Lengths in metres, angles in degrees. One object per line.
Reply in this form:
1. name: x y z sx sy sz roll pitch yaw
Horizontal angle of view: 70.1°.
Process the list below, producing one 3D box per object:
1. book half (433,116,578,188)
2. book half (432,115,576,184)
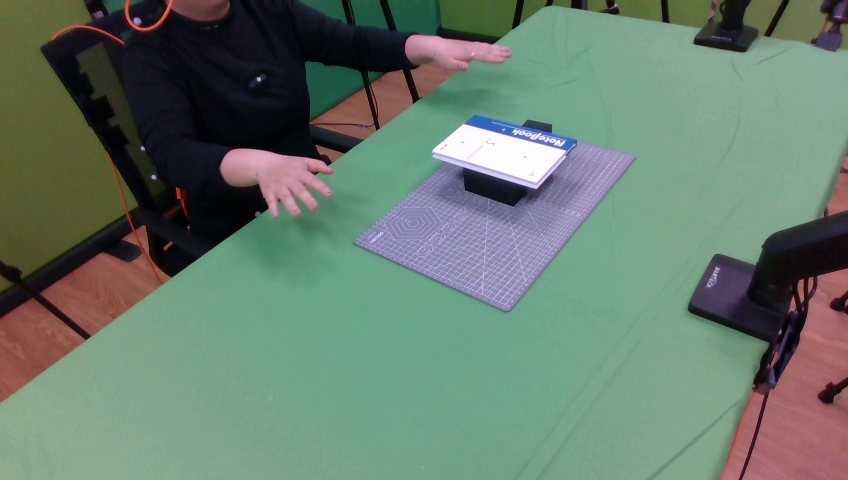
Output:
1. book half: 0.140 -0.160 1.060 0.208 0.016 0.149 22 47 30
2. book half: 0.138 -0.164 1.054 0.208 0.007 0.143 22 48 29
